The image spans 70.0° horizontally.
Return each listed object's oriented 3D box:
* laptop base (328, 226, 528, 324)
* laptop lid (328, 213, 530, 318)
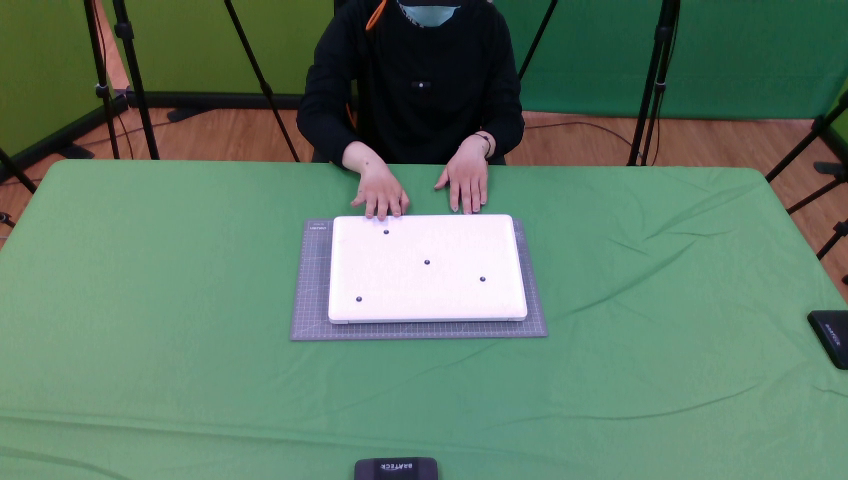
[{"bbox_3d":[0.005,0.061,1.137,0.355,0.023,0.234,0,43,-4],"label":"laptop base"},{"bbox_3d":[0.006,0.041,1.115,0.357,0.013,0.240,1,53,-3],"label":"laptop lid"}]
